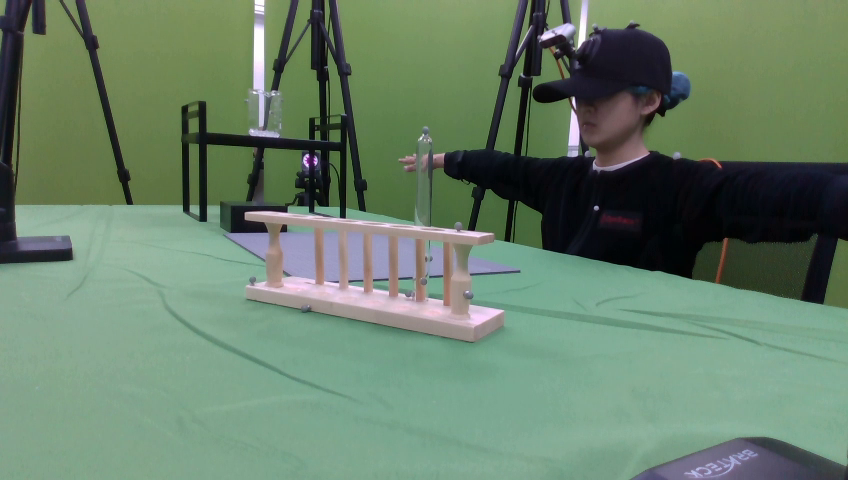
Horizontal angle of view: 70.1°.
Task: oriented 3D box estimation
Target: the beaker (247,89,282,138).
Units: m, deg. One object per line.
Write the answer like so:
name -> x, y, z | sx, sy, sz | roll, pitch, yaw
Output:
beaker -> -0.347, -0.274, 1.320 | 0.074, 0.100, 0.083 | -1, 9, -27

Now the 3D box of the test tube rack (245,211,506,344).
test tube rack -> -0.049, 0.025, 0.547 | 0.241, 0.085, 0.067 | 7, 8, 28

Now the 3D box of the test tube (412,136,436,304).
test tube -> 0.000, -0.017, 0.537 | 0.017, 0.150, 0.017 | 2, 8, 0
